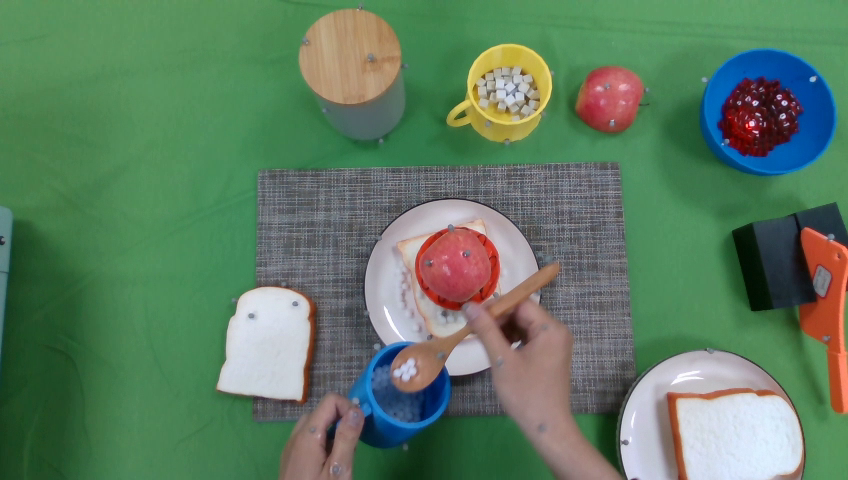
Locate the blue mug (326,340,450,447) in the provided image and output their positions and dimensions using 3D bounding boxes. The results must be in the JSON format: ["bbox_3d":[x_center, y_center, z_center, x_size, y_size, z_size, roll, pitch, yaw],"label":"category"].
[{"bbox_3d":[-0.043,0.161,0.595,0.117,0.106,0.082,-23,72,-28],"label":"blue mug"}]

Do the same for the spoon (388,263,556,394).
[{"bbox_3d":[0.040,0.080,0.540,0.194,0.022,0.041,-40,73,26],"label":"spoon"}]

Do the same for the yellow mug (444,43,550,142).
[{"bbox_3d":[0.084,-0.171,0.737,0.131,0.064,0.099,-25,81,-2],"label":"yellow mug"}]

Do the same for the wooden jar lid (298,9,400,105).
[{"bbox_3d":[-0.079,-0.193,0.649,0.108,0.021,0.108,0,79,1],"label":"wooden jar lid"}]

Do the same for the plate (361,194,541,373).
[{"bbox_3d":[0.031,0.051,0.713,0.208,0.039,0.207,0,81,1],"label":"plate"}]

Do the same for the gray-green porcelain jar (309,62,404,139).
[{"bbox_3d":[-0.078,-0.182,0.710,0.106,0.127,0.105,0,80,1],"label":"gray-green porcelain jar"}]

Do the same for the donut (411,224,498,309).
[{"bbox_3d":[0.035,0.030,0.688,0.099,0.048,0.098,0,81,2],"label":"donut"}]

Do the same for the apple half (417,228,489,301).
[{"bbox_3d":[0.032,0.026,0.652,0.081,0.033,0.081,-1,82,8],"label":"apple half"}]

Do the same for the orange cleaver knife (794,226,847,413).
[{"bbox_3d":[0.448,0.089,0.682,0.012,0.077,0.212,-13,103,-8],"label":"orange cleaver knife"}]

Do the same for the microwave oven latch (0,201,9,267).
[{"bbox_3d":[-0.513,-0.008,0.713,0.030,0.029,0.079,3,82,1],"label":"microwave oven latch"}]

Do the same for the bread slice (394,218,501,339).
[{"bbox_3d":[0.036,0.049,0.715,0.107,0.018,0.133,-19,81,-1],"label":"bread slice"}]

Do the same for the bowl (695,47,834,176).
[{"bbox_3d":[0.389,-0.142,0.722,0.151,0.077,0.151,0,81,1],"label":"bowl"}]

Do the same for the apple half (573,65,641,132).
[{"bbox_3d":[0.227,-0.179,0.743,0.074,0.053,0.080,21,82,7],"label":"apple half"}]

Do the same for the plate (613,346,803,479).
[{"bbox_3d":[0.315,0.225,0.685,0.209,0.038,0.208,0,81,1],"label":"plate"}]

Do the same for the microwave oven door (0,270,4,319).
[{"bbox_3d":[-0.514,0.192,0.579,0.039,0.244,0.354,-1,81,1],"label":"microwave oven door"}]

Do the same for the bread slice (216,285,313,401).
[{"bbox_3d":[-0.186,0.119,0.715,0.105,0.019,0.131,6,82,1],"label":"bread slice"}]
